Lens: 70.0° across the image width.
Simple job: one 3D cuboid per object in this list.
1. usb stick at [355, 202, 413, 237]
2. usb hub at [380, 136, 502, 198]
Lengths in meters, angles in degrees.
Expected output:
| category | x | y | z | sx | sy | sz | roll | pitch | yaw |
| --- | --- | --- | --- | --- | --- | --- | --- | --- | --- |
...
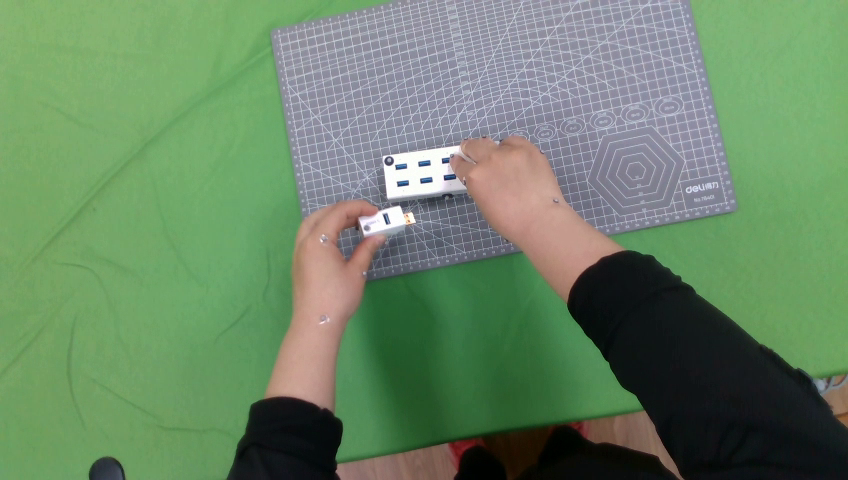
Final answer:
| category | x | y | z | sx | sy | sz | roll | pitch | yaw |
| --- | --- | --- | --- | --- | --- | --- | --- | --- | --- |
| usb stick | -0.038 | -0.022 | 0.604 | 0.059 | 0.027 | 0.021 | -14 | 77 | -19 |
| usb hub | 0.017 | -0.078 | 0.640 | 0.125 | 0.025 | 0.049 | -7 | 84 | 6 |
